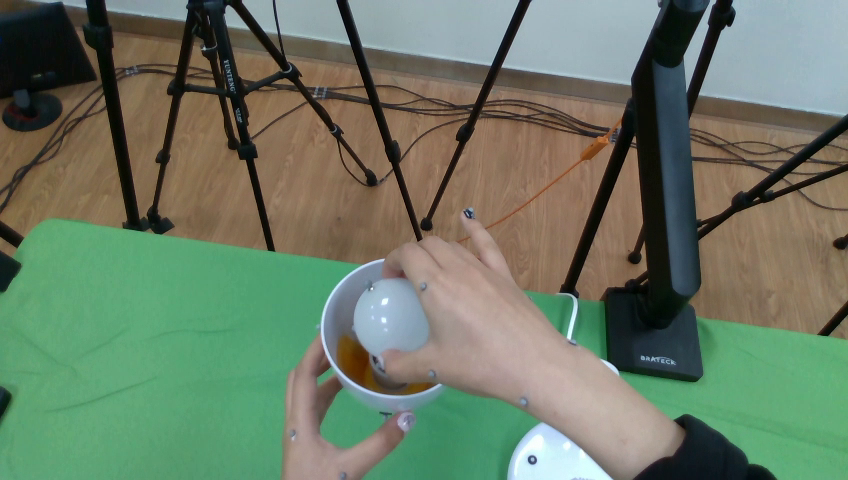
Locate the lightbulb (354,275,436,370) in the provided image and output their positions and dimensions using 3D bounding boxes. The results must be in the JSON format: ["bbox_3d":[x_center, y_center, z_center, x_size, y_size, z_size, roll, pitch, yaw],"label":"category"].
[{"bbox_3d":[-0.022,0.069,0.460,0.059,0.108,0.059,2,55,-2],"label":"lightbulb"}]

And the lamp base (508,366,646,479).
[{"bbox_3d":[0.177,0.221,0.634,0.161,0.182,0.177,-4,53,-7],"label":"lamp base"}]

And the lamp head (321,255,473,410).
[{"bbox_3d":[-0.018,0.086,0.489,0.112,0.124,0.111,-1,60,1],"label":"lamp head"}]
